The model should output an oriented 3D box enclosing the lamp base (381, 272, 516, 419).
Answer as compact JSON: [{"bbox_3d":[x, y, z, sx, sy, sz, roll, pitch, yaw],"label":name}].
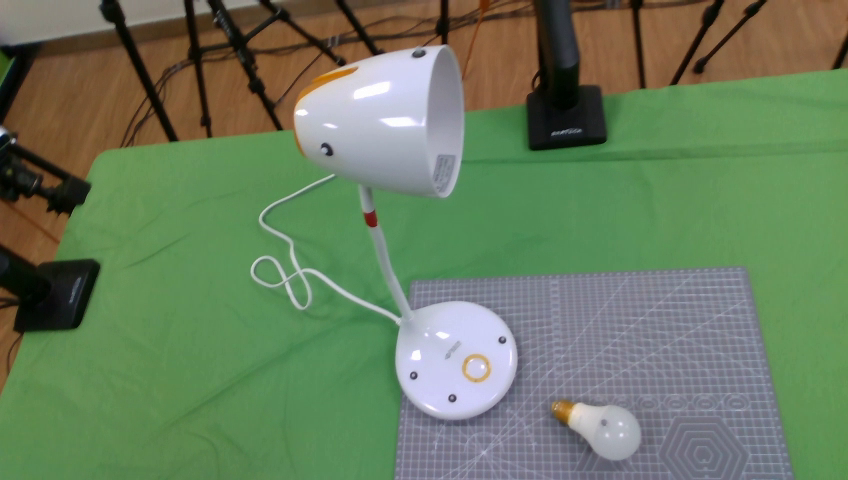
[{"bbox_3d":[0.013,0.110,0.731,0.178,0.182,0.160,20,65,26],"label":"lamp base"}]

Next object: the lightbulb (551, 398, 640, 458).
[{"bbox_3d":[0.197,0.212,0.705,0.107,0.060,0.059,15,63,39],"label":"lightbulb"}]

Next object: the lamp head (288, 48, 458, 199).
[{"bbox_3d":[-0.039,-0.085,0.472,0.122,0.113,0.111,-2,59,20],"label":"lamp head"}]
